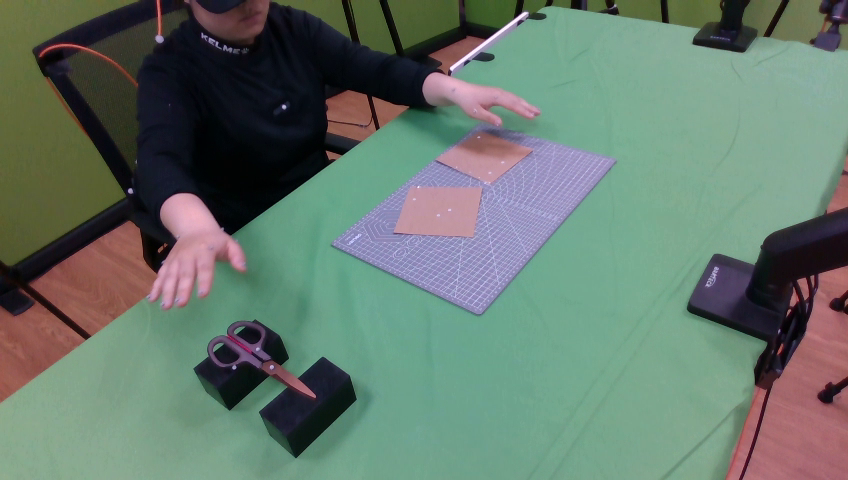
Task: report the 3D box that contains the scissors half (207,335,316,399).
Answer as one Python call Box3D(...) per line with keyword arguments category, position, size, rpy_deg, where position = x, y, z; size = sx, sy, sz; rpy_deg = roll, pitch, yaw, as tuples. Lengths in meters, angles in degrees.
Box3D(category="scissors half", position=(-0.201, 0.158, 0.741), size=(0.174, 0.013, 0.040), rpy_deg=(18, 38, 23))

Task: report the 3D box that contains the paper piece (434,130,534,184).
Box3D(category="paper piece", position=(0.114, -0.161, 1.150), size=(0.135, 0.009, 0.138), rpy_deg=(31, 52, 32))

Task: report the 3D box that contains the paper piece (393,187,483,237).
Box3D(category="paper piece", position=(0.027, -0.051, 1.033), size=(0.135, 0.004, 0.135), rpy_deg=(3, 42, 12))

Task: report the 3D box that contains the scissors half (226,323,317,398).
Box3D(category="scissors half", position=(-0.189, 0.149, 0.754), size=(0.173, 0.013, 0.040), rpy_deg=(31, 50, 34))
